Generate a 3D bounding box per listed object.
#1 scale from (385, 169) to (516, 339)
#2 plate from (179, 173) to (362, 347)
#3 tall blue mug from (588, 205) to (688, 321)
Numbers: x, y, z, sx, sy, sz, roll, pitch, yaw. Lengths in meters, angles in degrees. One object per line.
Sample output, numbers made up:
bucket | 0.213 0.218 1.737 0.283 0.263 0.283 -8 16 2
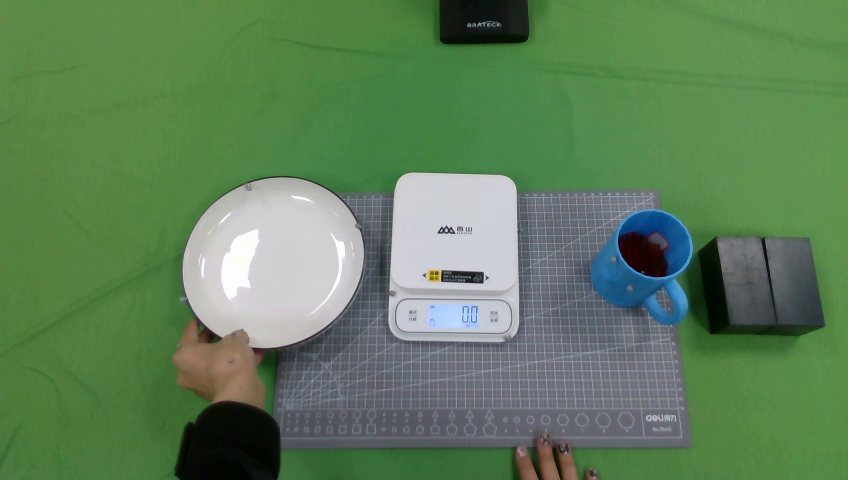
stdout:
scale | 0.032 0.013 0.704 0.148 0.032 0.199 1 72 2
plate | -0.173 0.023 0.701 0.209 0.038 0.207 0 71 1
tall blue mug | 0.240 0.027 0.654 0.107 0.108 0.077 35 74 12
